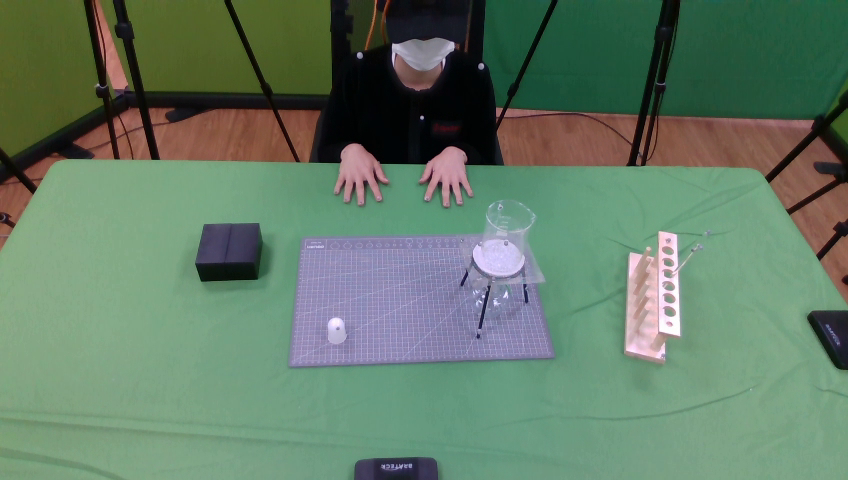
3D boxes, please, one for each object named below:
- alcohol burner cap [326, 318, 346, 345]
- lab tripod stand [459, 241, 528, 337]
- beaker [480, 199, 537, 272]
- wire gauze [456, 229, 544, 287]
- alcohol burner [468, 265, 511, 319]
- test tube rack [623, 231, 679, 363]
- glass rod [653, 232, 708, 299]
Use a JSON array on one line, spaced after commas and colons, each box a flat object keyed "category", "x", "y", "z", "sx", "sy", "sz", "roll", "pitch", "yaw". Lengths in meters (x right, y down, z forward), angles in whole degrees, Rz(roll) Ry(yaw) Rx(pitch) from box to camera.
[{"category": "alcohol burner cap", "x": -0.149, "y": 0.151, "z": 1.023, "sx": 0.034, "sy": 0.048, "sz": 0.033, "roll": 2, "pitch": 46, "yaw": -2}, {"category": "lab tripod stand", "x": 0.122, "y": 0.075, "z": 1.054, "sx": 0.148, "sy": 0.132, "sz": 0.147, "roll": 3, "pitch": 44, "yaw": -3}, {"category": "beaker", "x": 0.132, "y": -0.004, "z": 0.973, "sx": 0.084, "sy": 0.101, "sz": 0.073, "roll": -4, "pitch": 47, "yaw": -9}, {"category": "wire gauze", "x": 0.125, "y": 0.030, "z": 1.008, "sx": 0.125, "sy": 0.011, "sz": 0.120, "roll": -3, "pitch": 48, "yaw": -11}, {"category": "alcohol burner", "x": 0.117, "y": 0.083, "z": 1.060, "sx": 0.078, "sy": 0.119, "sz": 0.077, "roll": 3, "pitch": 48, "yaw": -3}, {"category": "test tube rack", "x": 0.410, "y": 0.094, "z": 1.096, "sx": 0.066, "sy": 0.085, "sz": 0.241, "roll": 13, "pitch": 47, "yaw": 9}, {"category": "glass rod", "x": 0.441, "y": 0.049, "z": 1.050, "sx": 0.008, "sy": 0.200, "sz": 0.008, "roll": 4, "pitch": 52, "yaw": -5}]
